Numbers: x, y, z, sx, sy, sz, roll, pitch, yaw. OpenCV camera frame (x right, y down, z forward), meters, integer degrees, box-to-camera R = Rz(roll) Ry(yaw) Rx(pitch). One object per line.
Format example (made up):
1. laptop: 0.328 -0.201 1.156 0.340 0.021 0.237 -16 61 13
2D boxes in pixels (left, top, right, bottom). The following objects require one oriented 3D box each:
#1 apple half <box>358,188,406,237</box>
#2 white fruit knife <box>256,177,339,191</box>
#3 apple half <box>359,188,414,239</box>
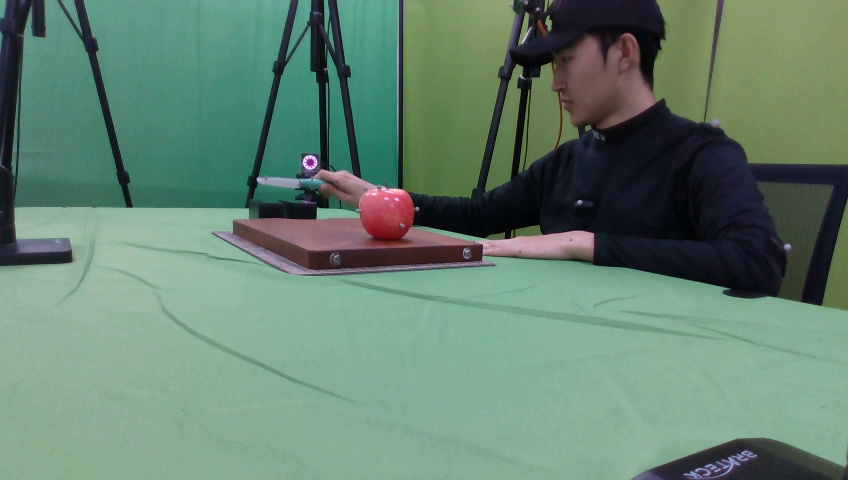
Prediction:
1. apple half: -0.068 -0.043 0.904 0.082 0.081 0.032 -2 10 -29
2. white fruit knife: -0.262 -0.121 1.281 0.208 0.027 0.016 -1 43 -45
3. apple half: -0.049 -0.037 0.870 0.081 0.074 0.053 3 10 -30
